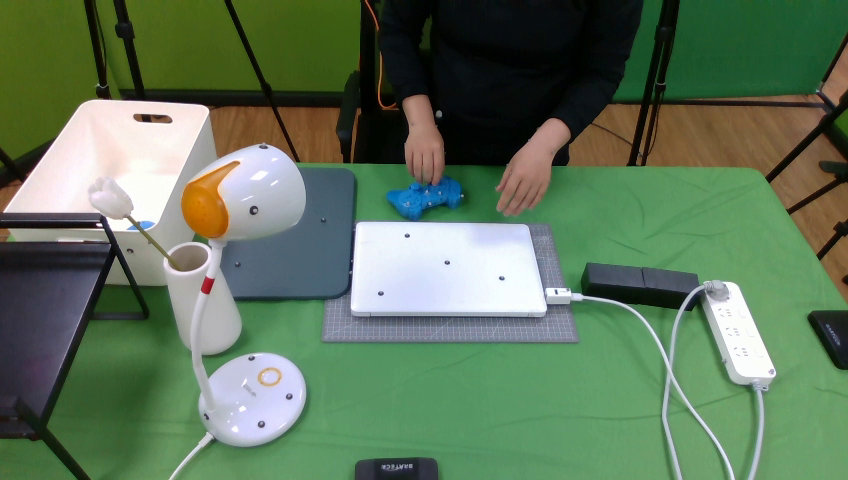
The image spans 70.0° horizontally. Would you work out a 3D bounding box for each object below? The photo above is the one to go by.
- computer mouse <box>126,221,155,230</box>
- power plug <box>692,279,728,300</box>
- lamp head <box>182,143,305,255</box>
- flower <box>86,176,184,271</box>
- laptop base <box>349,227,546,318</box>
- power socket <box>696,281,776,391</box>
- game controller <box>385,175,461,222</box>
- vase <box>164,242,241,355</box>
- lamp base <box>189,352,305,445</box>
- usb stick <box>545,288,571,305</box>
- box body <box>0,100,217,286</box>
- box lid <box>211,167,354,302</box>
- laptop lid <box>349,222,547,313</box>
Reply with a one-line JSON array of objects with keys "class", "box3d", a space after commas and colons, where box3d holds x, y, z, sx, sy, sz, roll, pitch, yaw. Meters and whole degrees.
[{"class": "computer mouse", "box3d": [-0.537, 0.009, 1.127, 0.062, 0.041, 0.117, 32, 56, 20]}, {"class": "power plug", "box3d": [0.522, 0.091, 1.116, 0.072, 0.053, 0.035, 10, 47, 8]}, {"class": "lamp head", "box3d": [-0.216, -0.044, 0.697, 0.112, 0.113, 0.123, 23, 31, 17]}, {"class": "flower", "box3d": [-0.365, 0.038, 0.894, 0.038, 0.364, 0.044, -4, 53, 15]}, {"class": "laptop base", "box3d": [0.040, 0.056, 1.149, 0.355, 0.023, 0.234, 1, 42, -4]}, {"class": "power socket", "box3d": [0.550, 0.160, 1.078, 0.072, 0.033, 0.225, 2, 46, -1]}, {"class": "game controller", "box3d": [0.004, -0.097, 1.276, 0.155, 0.052, 0.096, -18, 55, -20]}, {"class": "vase", "box3d": [-0.349, 0.096, 0.954, 0.098, 0.201, 0.097, 3, 47, -3]}, {"class": "lamp base", "box3d": [-0.268, 0.196, 0.876, 0.160, 0.181, 0.179, 26, 52, 20]}, {"class": "usb stick", "box3d": [0.236, 0.102, 1.101, 0.059, 0.027, 0.021, -2, 46, 1]}, {"class": "box body", "box3d": [-0.559, -0.092, 1.145, 0.254, 0.161, 0.361, 3, 46, -2]}, {"class": "box lid", "box3d": [-0.276, -0.024, 1.205, 0.263, 0.015, 0.369, 0, 46, -4]}, {"class": "laptop lid", "box3d": [0.041, 0.046, 1.143, 0.357, 0.013, 0.240, 2, 44, -3]}]
